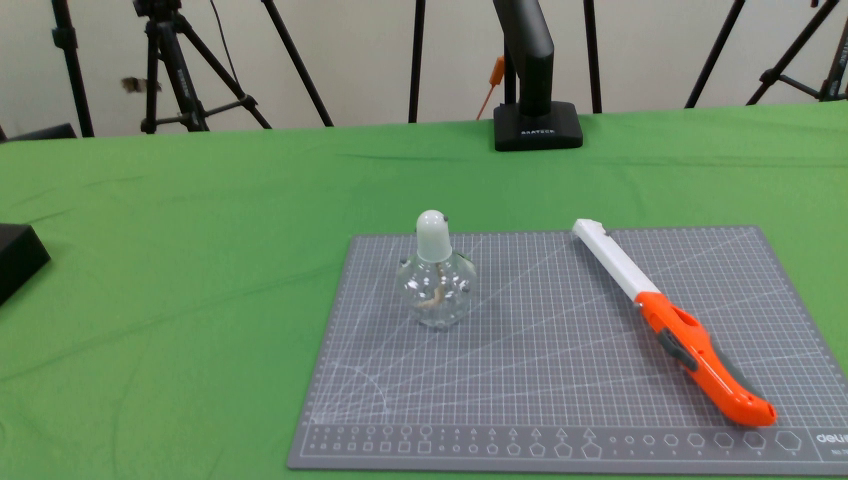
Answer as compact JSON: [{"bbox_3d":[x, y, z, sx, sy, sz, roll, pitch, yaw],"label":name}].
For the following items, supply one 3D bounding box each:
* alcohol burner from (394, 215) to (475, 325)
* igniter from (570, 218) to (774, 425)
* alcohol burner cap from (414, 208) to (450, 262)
[{"bbox_3d":[0.009,0.022,0.563,0.078,0.120,0.077,-2,39,2],"label":"alcohol burner"},{"bbox_3d":[0.210,0.059,0.554,0.057,0.025,0.273,6,31,-22],"label":"igniter"},{"bbox_3d":[0.006,-0.007,0.541,0.034,0.048,0.033,-2,41,2],"label":"alcohol burner cap"}]
